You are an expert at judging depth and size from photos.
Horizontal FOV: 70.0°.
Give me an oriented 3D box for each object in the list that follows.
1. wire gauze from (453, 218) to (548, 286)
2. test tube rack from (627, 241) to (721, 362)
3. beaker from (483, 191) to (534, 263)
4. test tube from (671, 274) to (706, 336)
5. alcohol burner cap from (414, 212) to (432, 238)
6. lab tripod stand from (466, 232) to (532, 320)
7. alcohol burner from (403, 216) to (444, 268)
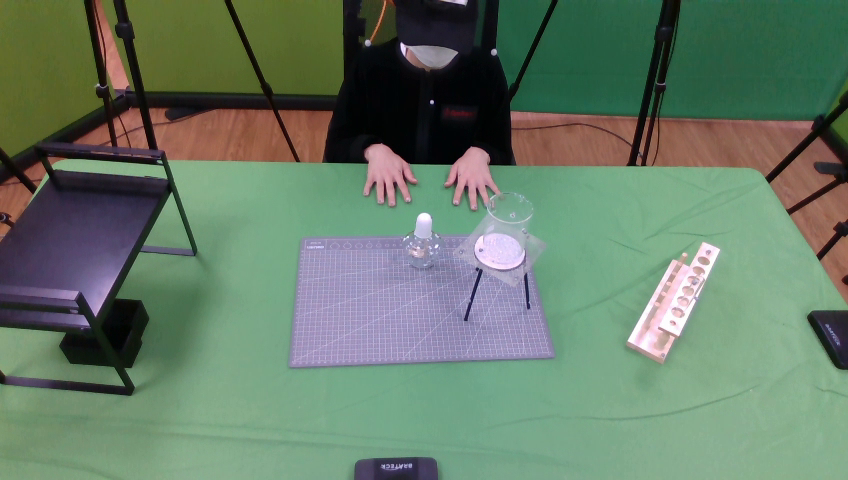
[{"bbox_3d":[0.129,0.014,1.019,0.124,0.011,0.121,26,47,25],"label":"wire gauze"},{"bbox_3d":[0.452,0.098,1.087,0.066,0.085,0.242,28,51,22],"label":"test tube rack"},{"bbox_3d":[0.135,-0.020,0.983,0.073,0.101,0.084,28,50,23],"label":"beaker"},{"bbox_3d":[0.429,0.112,1.004,0.017,0.151,0.017,4,43,-4],"label":"test tube"},{"bbox_3d":[0.000,-0.030,1.107,0.034,0.048,0.033,4,41,-3],"label":"alcohol burner cap"},{"bbox_3d":[0.125,0.059,1.065,0.148,0.132,0.147,1,45,0],"label":"lab tripod stand"},{"bbox_3d":[-0.001,-0.004,1.132,0.078,0.120,0.077,1,46,0],"label":"alcohol burner"}]
